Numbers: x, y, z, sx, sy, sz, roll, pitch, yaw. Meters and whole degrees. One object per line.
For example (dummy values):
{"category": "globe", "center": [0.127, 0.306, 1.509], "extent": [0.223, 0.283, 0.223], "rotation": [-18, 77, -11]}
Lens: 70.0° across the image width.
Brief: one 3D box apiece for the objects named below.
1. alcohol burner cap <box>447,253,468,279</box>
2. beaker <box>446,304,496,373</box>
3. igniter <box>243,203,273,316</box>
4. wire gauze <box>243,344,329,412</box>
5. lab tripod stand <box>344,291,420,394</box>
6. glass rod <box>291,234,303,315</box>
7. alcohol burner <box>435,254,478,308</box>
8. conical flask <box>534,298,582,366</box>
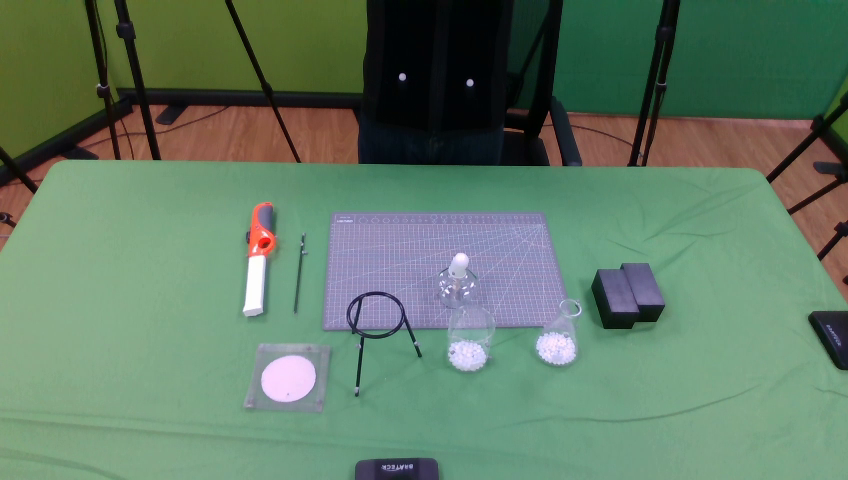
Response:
{"category": "alcohol burner cap", "center": [0.060, 0.043, 1.046], "extent": [0.034, 0.048, 0.033], "rotation": [5, 50, -6]}
{"category": "beaker", "center": [0.072, 0.166, 0.992], "extent": [0.084, 0.101, 0.073], "rotation": [-21, 51, -22]}
{"category": "igniter", "center": [-0.315, 0.027, 1.145], "extent": [0.057, 0.025, 0.274], "rotation": [-10, 47, 0]}
{"category": "wire gauze", "center": [-0.221, 0.219, 0.981], "extent": [0.125, 0.011, 0.120], "rotation": [2, 45, 0]}
{"category": "lab tripod stand", "center": [-0.075, 0.154, 0.967], "extent": [0.148, 0.132, 0.147], "rotation": [3, 44, -3]}
{"category": "glass rod", "center": [-0.237, 0.060, 1.134], "extent": [0.008, 0.008, 0.198], "rotation": [-1, 46, -4]}
{"category": "alcohol burner", "center": [0.058, 0.066, 1.073], "extent": [0.078, 0.120, 0.077], "rotation": [1, 48, -1]}
{"category": "conical flask", "center": [0.229, 0.149, 1.005], "extent": [0.075, 0.122, 0.075], "rotation": [2, 46, -2]}
